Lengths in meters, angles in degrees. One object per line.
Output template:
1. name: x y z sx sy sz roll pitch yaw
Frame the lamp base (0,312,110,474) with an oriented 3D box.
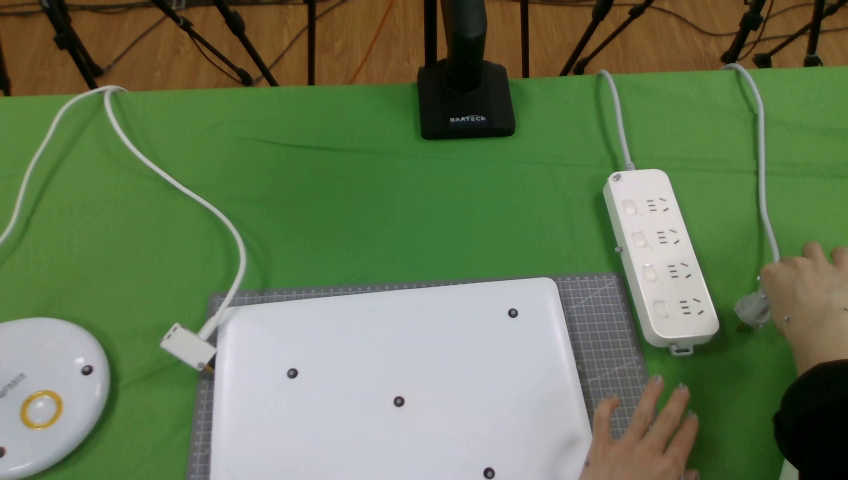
1. lamp base: -0.400 0.101 0.524 0.178 0.182 0.160 21 61 14

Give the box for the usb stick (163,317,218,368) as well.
1. usb stick: -0.225 0.103 0.597 0.027 0.059 0.021 -51 28 -15

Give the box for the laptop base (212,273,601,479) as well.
1. laptop base: -0.023 0.155 0.591 0.355 0.023 0.233 -5 64 -4

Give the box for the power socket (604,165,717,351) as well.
1. power socket: 0.256 0.010 0.669 0.072 0.033 0.224 -3 60 -4

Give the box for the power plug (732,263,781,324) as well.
1. power plug: 0.354 0.062 0.637 0.073 0.053 0.035 -22 59 -31

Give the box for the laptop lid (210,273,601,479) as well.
1. laptop lid: -0.023 0.151 0.580 0.357 0.013 0.239 -4 63 -3

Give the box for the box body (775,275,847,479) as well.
1. box body: 0.458 0.188 0.496 0.253 0.161 0.362 27 64 14
